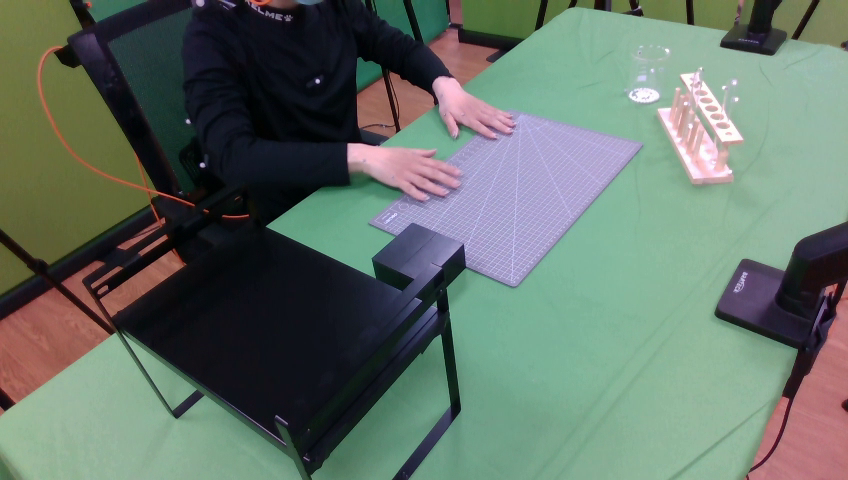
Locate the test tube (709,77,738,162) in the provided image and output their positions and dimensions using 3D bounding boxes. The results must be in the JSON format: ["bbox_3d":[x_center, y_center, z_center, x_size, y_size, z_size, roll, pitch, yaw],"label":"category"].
[{"bbox_3d":[0.498,-0.198,1.008,0.017,0.151,0.017,-3,37,3],"label":"test tube"}]

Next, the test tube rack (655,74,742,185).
[{"bbox_3d":[0.488,-0.205,1.093,0.067,0.085,0.241,-3,41,5],"label":"test tube rack"}]

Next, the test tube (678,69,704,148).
[{"bbox_3d":[0.465,-0.228,1.054,0.017,0.151,0.017,-4,41,4],"label":"test tube"}]

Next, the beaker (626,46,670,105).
[{"bbox_3d":[0.457,-0.336,1.240,0.084,0.101,0.073,-12,41,-6],"label":"beaker"}]
